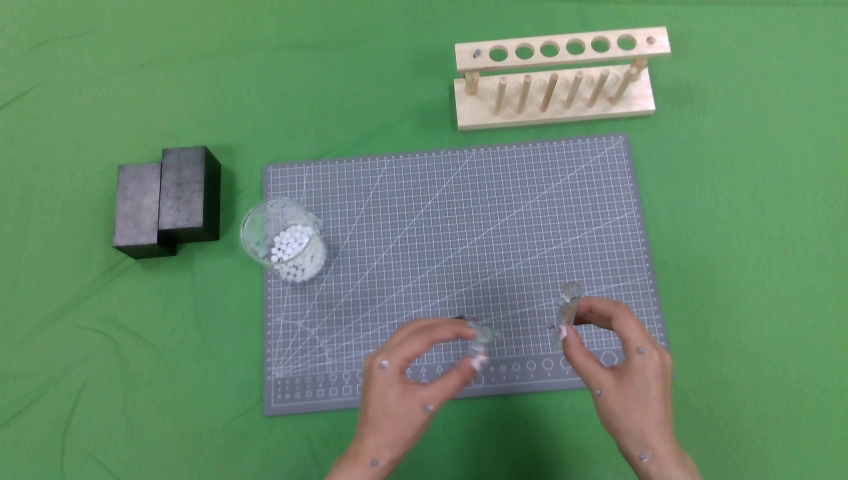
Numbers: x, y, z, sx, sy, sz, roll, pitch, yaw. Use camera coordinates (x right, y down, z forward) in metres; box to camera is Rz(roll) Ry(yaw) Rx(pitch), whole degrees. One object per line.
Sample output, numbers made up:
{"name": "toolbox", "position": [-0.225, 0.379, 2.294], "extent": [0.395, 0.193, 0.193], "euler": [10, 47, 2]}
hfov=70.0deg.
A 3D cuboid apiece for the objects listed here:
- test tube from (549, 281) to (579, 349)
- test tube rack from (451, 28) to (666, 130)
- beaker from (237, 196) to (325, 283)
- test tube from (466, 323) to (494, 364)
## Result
{"name": "test tube", "position": [0.123, 0.071, 0.539], "extent": [0.017, 0.152, 0.017], "euler": [-3, 64, 7]}
{"name": "test tube rack", "position": [0.156, -0.190, 0.727], "extent": [0.242, 0.085, 0.066], "euler": [-4, 73, 0]}
{"name": "beaker", "position": [-0.149, 0.003, 0.666], "extent": [0.084, 0.101, 0.073], "euler": [-12, 73, -3]}
{"name": "test tube", "position": [0.046, 0.091, 0.516], "extent": [0.017, 0.151, 0.017], "euler": [0, 72, 2]}
